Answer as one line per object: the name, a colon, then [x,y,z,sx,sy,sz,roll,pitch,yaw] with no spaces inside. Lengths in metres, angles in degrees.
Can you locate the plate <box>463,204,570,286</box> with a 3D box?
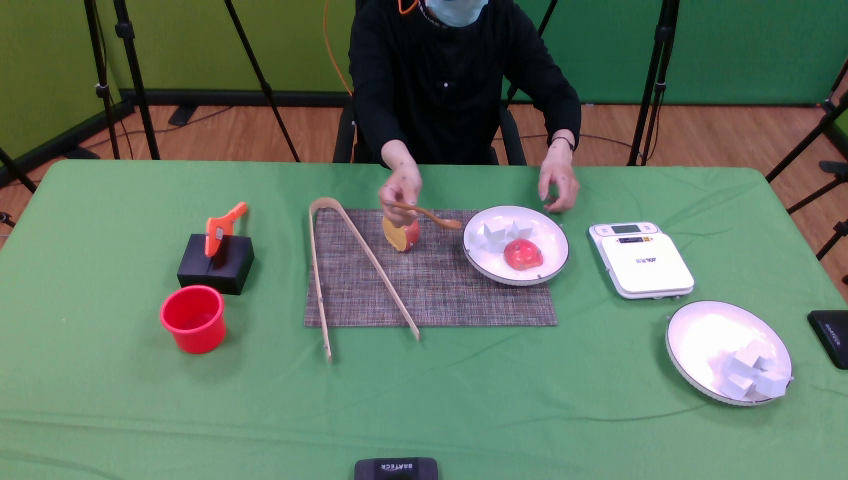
plate: [0.177,0.013,1.180,0.209,0.038,0.208,2,46,-2]

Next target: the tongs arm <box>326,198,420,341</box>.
tongs arm: [-0.101,0.043,1.139,0.028,0.028,0.385,-22,51,-17]

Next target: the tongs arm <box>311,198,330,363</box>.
tongs arm: [-0.179,0.059,1.117,0.051,0.026,0.382,-9,46,-11]

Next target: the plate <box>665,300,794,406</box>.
plate: [0.513,0.194,1.034,0.208,0.039,0.206,2,46,-2]

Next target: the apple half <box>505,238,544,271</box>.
apple half: [0.193,0.020,1.167,0.081,0.033,0.081,3,48,-3]

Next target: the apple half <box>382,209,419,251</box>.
apple half: [-0.039,-0.022,1.175,0.053,0.075,0.080,-27,49,-31]

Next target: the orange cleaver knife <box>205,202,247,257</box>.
orange cleaver knife: [-0.374,-0.024,1.151,0.012,0.077,0.210,4,16,1]

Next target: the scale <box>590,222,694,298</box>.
scale: [0.424,0.031,1.189,0.149,0.032,0.199,-3,46,-7]

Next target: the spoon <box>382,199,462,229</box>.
spoon: [-0.001,-0.047,1.039,0.195,0.021,0.041,20,6,-46]
